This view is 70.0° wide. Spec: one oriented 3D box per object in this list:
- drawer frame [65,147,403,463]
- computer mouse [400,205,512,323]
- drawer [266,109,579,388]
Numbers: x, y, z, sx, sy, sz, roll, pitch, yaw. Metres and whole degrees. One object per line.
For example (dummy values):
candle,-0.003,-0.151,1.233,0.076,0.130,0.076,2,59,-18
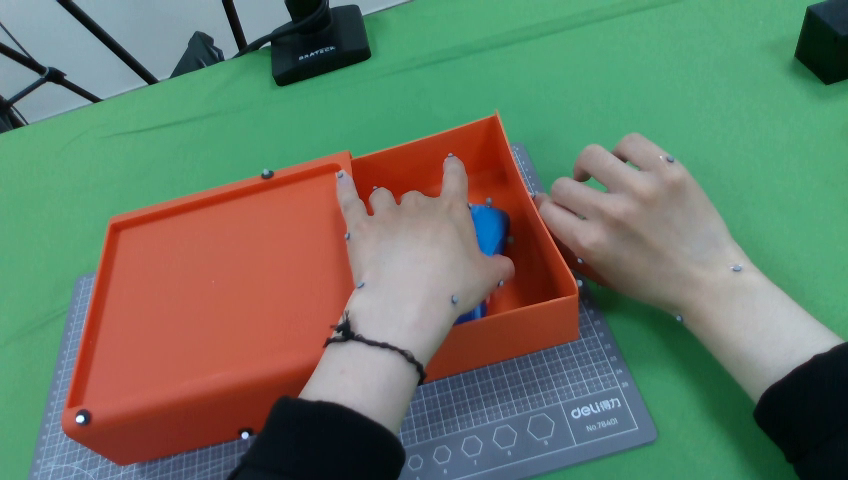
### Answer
drawer frame,-0.136,0.044,0.469,0.213,0.083,0.199,-16,50,3
computer mouse,0.026,0.012,0.470,0.062,0.041,0.116,6,46,23
drawer,-0.011,0.009,0.465,0.212,0.074,0.192,-16,50,2
